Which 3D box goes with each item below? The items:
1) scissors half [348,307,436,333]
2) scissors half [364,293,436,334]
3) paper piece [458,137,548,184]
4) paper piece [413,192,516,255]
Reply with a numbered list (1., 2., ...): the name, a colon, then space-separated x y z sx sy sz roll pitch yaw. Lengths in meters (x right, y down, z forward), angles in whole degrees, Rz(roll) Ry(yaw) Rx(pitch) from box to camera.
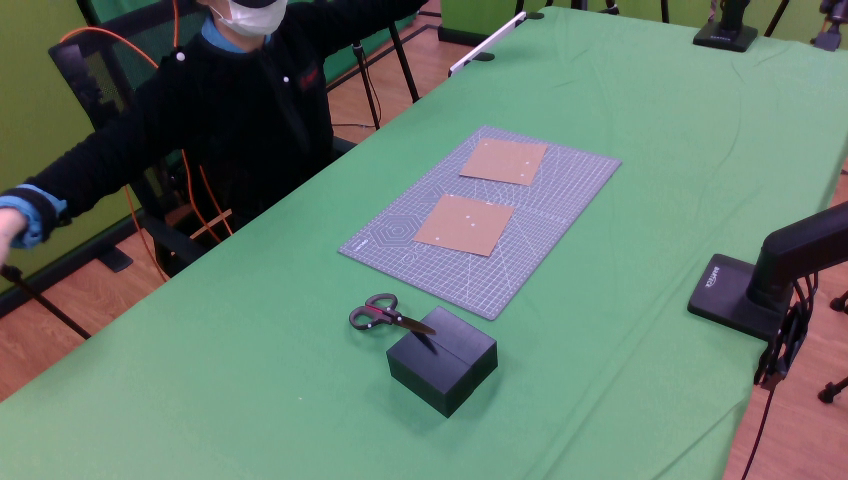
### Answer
1. scissors half: -0.046 0.111 0.805 0.174 0.013 0.040 0 33 45
2. scissors half: -0.032 0.100 0.815 0.040 0.013 0.173 -40 28 -19
3. paper piece: 0.150 -0.152 1.131 0.135 0.009 0.138 15 43 17
4. paper piece: 0.068 -0.030 1.000 0.134 0.004 0.136 12 44 23
